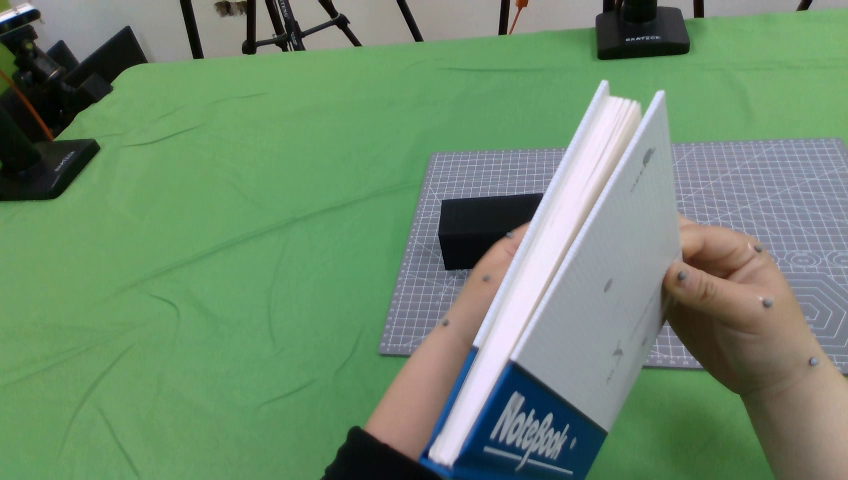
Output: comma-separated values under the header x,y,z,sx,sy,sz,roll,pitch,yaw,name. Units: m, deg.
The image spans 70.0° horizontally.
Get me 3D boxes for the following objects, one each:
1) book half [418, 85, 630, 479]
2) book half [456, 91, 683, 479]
x,y,z,sx,sy,sz,roll,pitch,yaw,name
0.075,0.049,0.292,0.016,0.212,0.148,20,77,31,book half
0.086,0.050,0.284,0.007,0.212,0.143,25,80,32,book half
